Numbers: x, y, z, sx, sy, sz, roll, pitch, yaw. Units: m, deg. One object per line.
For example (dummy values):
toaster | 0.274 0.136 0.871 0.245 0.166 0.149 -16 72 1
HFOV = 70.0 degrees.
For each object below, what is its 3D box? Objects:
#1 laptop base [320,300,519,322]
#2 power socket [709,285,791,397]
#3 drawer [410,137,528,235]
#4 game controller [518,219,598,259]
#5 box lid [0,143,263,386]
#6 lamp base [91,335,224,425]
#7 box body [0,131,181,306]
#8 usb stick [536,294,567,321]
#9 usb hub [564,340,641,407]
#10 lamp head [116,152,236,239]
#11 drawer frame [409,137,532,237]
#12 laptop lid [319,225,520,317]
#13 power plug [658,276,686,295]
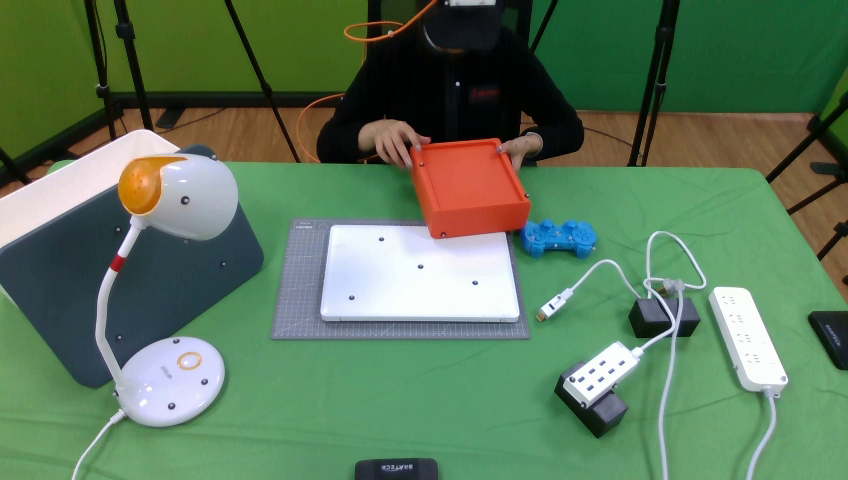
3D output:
laptop base | -0.009 0.062 1.138 0.354 0.023 0.234 0 43 -3
power socket | 0.567 0.167 1.064 0.072 0.033 0.225 2 46 0
drawer | 0.086 -0.114 1.241 0.195 0.073 0.210 -7 48 -12
game controller | 0.269 -0.012 1.210 0.155 0.052 0.096 1 50 -2
box lid | -0.444 0.032 0.979 0.015 0.264 0.371 13 42 41
lamp base | -0.401 0.171 0.892 0.160 0.181 0.179 30 53 23
box body | -0.550 -0.007 1.068 0.253 0.161 0.363 30 51 23
usb stick | 0.226 0.122 1.083 0.059 0.027 0.021 -38 77 -8
usb hub | 0.278 0.205 0.944 0.125 0.025 0.049 -27 52 -28
lamp head | -0.315 -0.057 0.747 0.112 0.112 0.123 26 10 20
drawer frame | 0.088 -0.113 1.238 0.202 0.083 0.212 -6 47 -12
laptop lid | -0.008 0.052 1.131 0.357 0.013 0.240 2 44 -2
power plug | 0.450 0.087 1.113 0.073 0.052 0.035 -13 71 -55
